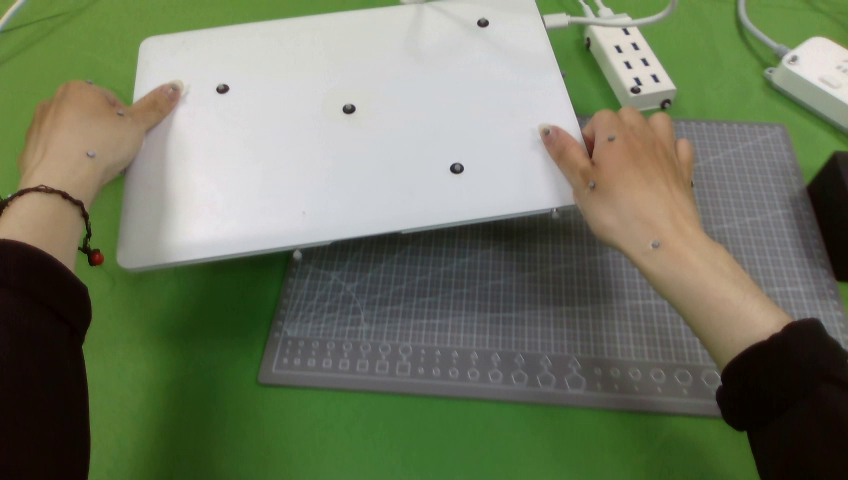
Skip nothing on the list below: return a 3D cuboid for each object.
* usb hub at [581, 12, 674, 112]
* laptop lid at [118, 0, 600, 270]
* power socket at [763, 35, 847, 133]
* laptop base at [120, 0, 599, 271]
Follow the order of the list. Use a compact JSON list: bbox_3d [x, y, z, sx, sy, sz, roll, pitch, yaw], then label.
[{"bbox_3d":[0.208,-0.187,0.629,0.049,0.025,0.124,-11,56,-5],"label":"usb hub"},{"bbox_3d":[-0.059,-0.103,0.487,0.357,0.013,0.239,-7,61,-2],"label":"laptop lid"},{"bbox_3d":[0.439,-0.122,0.576,0.072,0.033,0.224,-32,61,-20],"label":"power socket"},{"bbox_3d":[-0.059,-0.098,0.499,0.354,0.023,0.233,-8,62,-3],"label":"laptop base"}]
